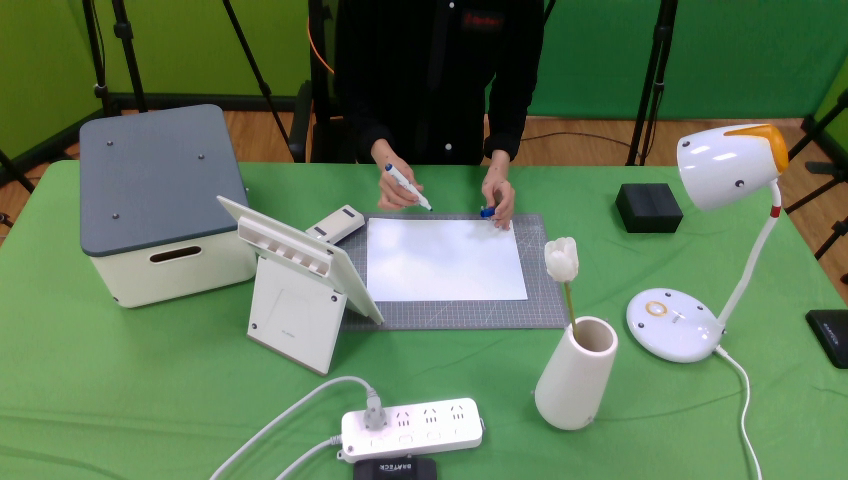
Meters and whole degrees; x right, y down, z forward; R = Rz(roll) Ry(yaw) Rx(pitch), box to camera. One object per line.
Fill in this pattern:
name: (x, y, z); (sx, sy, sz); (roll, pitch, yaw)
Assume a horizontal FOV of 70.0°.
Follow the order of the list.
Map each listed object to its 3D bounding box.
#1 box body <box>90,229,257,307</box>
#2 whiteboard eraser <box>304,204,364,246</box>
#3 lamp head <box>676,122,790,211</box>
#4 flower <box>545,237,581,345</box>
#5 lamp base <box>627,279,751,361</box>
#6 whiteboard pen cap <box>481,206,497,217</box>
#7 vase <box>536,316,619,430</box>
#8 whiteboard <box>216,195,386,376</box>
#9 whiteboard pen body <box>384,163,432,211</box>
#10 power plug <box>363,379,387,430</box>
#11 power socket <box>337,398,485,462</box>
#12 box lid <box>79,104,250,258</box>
box body: (-0.471, -0.070, 1.131); (0.254, 0.161, 0.361); (-14, 49, -17)
whiteboard eraser: (-0.175, -0.022, 1.188); (0.055, 0.042, 0.112); (36, 53, 26)
lamp head: (0.423, -0.104, 0.819); (0.122, 0.113, 0.112); (-13, 33, 40)
flower: (0.213, 0.137, 0.846); (0.038, 0.364, 0.044); (21, 55, 40)
lamp base: (0.460, 0.100, 1.027); (0.178, 0.181, 0.160); (27, 51, 17)
whiteboard pen cap: (0.128, -0.056, 1.212); (0.033, 0.018, 0.018); (-16, 49, -28)
vase: (0.229, 0.200, 0.901); (0.098, 0.201, 0.097); (3, 46, -3)
whiteboard: (-0.212, 0.093, 0.939); (0.216, 0.307, 0.143); (24, 70, 17)
whiteboard pen body: (-0.026, -0.095, 1.125); (0.017, 0.141, 0.017); (-25, 42, 25)
power plug: (-0.072, 0.252, 0.911); (0.035, 0.053, 0.072); (3, 40, 0)
power socket: (-0.018, 0.285, 0.914); (0.227, 0.033, 0.071); (-4, 46, -8)
box lid: (-0.467, -0.121, 1.075); (0.264, 0.015, 0.369); (-13, 49, -17)
